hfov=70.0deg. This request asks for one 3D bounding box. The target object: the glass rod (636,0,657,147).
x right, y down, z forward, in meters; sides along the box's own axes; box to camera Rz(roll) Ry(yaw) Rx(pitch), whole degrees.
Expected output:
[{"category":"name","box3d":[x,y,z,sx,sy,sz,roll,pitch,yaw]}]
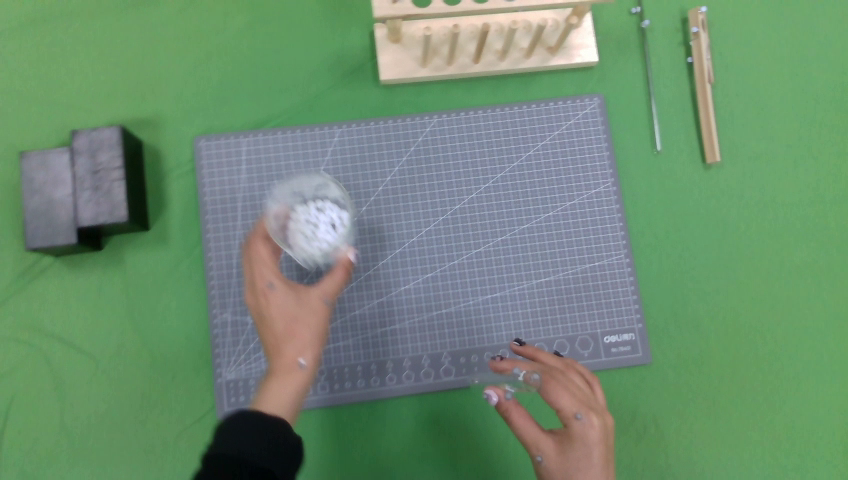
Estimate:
[{"category":"glass rod","box3d":[0.250,-0.202,0.684,0.008,0.008,0.199,-2,82,-3]}]

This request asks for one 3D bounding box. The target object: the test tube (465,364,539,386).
[{"category":"test tube","box3d":[0.060,0.111,0.497,0.017,0.150,0.017,3,77,-11]}]

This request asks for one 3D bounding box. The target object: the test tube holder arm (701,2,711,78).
[{"category":"test tube holder arm","box3d":[0.314,-0.224,0.685,0.010,0.015,0.087,5,80,-32]}]

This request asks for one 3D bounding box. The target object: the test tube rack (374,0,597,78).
[{"category":"test tube rack","box3d":[0.070,-0.230,0.642,0.242,0.085,0.066,-6,82,-3]}]

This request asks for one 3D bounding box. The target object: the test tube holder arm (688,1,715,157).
[{"category":"test tube holder arm","box3d":[0.309,-0.180,0.676,0.013,0.015,0.178,4,81,-32]}]

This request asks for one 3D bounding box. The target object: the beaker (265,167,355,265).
[{"category":"beaker","box3d":[-0.100,-0.014,0.558,0.074,0.100,0.083,2,82,-4]}]
